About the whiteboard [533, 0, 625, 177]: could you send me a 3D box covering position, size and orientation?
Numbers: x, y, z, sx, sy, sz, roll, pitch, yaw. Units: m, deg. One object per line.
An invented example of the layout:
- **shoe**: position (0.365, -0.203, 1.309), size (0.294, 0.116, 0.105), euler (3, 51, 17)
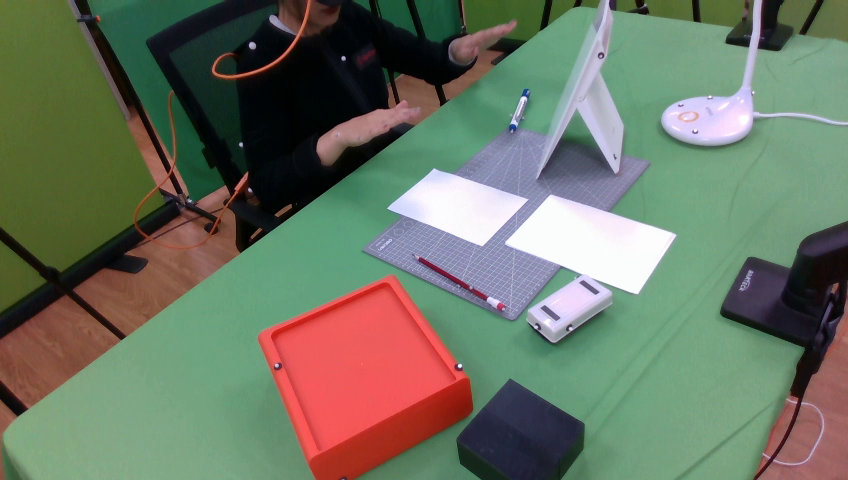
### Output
- **whiteboard**: position (0.321, -0.258, 1.049), size (0.144, 0.306, 0.217), euler (20, 45, 4)

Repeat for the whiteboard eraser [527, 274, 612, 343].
- **whiteboard eraser**: position (0.198, 0.094, 0.819), size (0.113, 0.042, 0.055), euler (-29, 43, -22)

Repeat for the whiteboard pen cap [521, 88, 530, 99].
- **whiteboard pen cap**: position (0.218, -0.313, 1.301), size (0.018, 0.018, 0.033), euler (7, 46, 18)

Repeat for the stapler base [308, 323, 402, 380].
- **stapler base**: position (-0.094, 0.142, 0.812), size (0.131, 0.024, 0.041), euler (-24, 29, -17)

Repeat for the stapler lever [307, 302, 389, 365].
- **stapler lever**: position (-0.101, 0.121, 0.799), size (0.118, 0.040, 0.026), euler (-25, 30, -17)

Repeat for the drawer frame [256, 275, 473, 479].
- **drawer frame**: position (-0.078, 0.164, 0.756), size (0.202, 0.083, 0.211), euler (-23, 43, -17)

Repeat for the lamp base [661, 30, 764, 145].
- **lamp base**: position (0.535, -0.287, 1.096), size (0.179, 0.181, 0.159), euler (-10, 40, -4)

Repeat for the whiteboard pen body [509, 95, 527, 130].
- **whiteboard pen body**: position (0.199, -0.273, 1.262), size (0.017, 0.017, 0.140), euler (7, 44, 19)

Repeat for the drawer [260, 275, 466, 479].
- **drawer**: position (-0.080, 0.163, 0.760), size (0.195, 0.073, 0.210), euler (-22, 42, -16)

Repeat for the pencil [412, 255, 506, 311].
- **pencil**: position (0.047, 0.060, 0.906), size (0.012, 0.012, 0.192), euler (-37, 46, -29)
